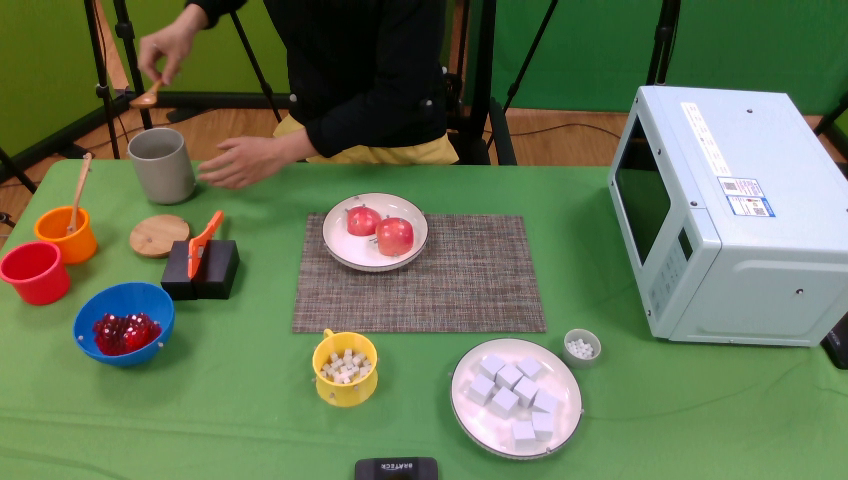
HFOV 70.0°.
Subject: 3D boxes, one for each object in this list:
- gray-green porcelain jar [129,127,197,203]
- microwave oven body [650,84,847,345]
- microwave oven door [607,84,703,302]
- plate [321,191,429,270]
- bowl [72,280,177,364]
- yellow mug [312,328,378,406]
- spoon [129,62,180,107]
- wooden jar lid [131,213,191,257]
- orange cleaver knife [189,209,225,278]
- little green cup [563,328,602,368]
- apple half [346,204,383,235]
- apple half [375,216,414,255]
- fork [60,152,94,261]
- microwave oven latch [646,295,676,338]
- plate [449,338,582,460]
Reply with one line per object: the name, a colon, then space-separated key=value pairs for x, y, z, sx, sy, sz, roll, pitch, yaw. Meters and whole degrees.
gray-green porcelain jar: x=-0.521 y=-0.147 z=1.224 sx=0.106 sy=0.127 sz=0.105 roll=2 pitch=46 yaw=-2
microwave oven body: x=0.569 y=-0.054 z=1.116 sx=0.326 sy=0.261 sz=0.439 roll=2 pitch=46 yaw=-1
microwave oven door: x=0.424 y=-0.096 z=1.137 sx=0.039 sy=0.245 sz=0.353 roll=3 pitch=46 yaw=-1
plate: x=-0.094 y=-0.015 z=1.185 sx=0.209 sy=0.038 sz=0.208 roll=2 pitch=46 yaw=-2
bowl: x=-0.473 y=0.147 z=0.982 sx=0.151 sy=0.077 sz=0.150 roll=2 pitch=46 yaw=-2
yellow mug: x=-0.132 y=0.193 z=0.971 sx=0.100 sy=0.064 sz=0.130 roll=-22 pitch=51 yaw=-22
spoon: x=-0.504 y=-0.298 z=1.151 sx=0.041 sy=0.022 sz=0.192 roll=5 pitch=42 yaw=2
wooden jar lid: x=-0.504 y=-0.008 z=1.167 sx=0.108 sy=0.021 sz=0.107 roll=4 pitch=47 yaw=-4
orange cleaver knife: x=-0.401 y=0.002 z=1.122 sx=0.012 sy=0.077 sz=0.210 roll=3 pitch=22 yaw=-4
little green cup: x=0.266 y=0.185 z=1.025 sx=0.061 sy=0.039 sz=0.061 roll=1 pitch=45 yaw=-1
apple half: x=-0.119 y=-0.049 z=1.207 sx=0.081 sy=0.033 sz=0.081 roll=2 pitch=49 yaw=-2
apple half: x=-0.056 y=-0.017 z=1.169 sx=0.075 sy=0.053 sz=0.080 roll=0 pitch=46 yaw=-7
fork: x=-0.638 y=-0.063 z=1.119 sx=0.028 sy=0.018 sz=0.207 roll=12 pitch=90 yaw=7
microwave oven latch: x=0.413 y=0.133 z=1.061 sx=0.030 sy=0.029 sz=0.078 roll=4 pitch=46 yaw=1
plate: x=0.141 y=0.251 z=0.956 sx=0.208 sy=0.039 sz=0.206 roll=2 pitch=46 yaw=-2
